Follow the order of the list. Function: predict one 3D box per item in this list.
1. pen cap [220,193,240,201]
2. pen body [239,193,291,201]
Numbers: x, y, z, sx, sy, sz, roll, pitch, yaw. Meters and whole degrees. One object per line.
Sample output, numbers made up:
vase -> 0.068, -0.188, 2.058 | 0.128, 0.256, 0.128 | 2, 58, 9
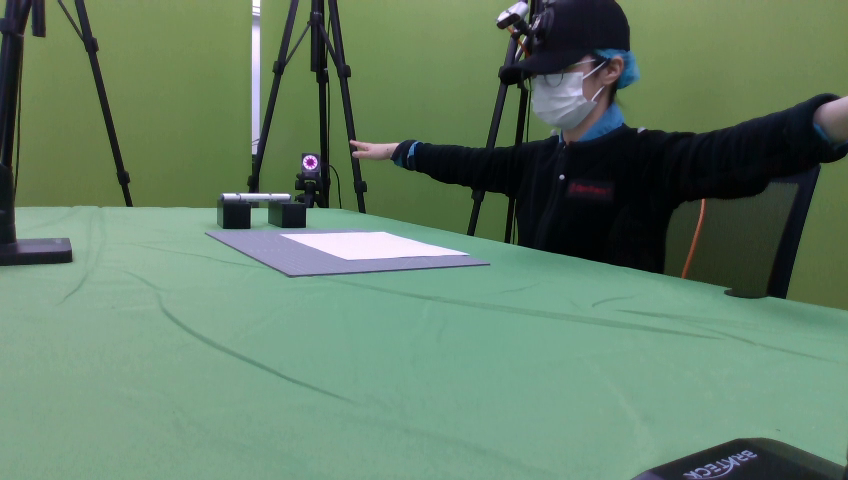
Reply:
pen cap -> -0.383, -0.085, 1.194 | 0.039, 0.017, 0.017 | -5, 10, -44
pen body -> -0.337, -0.089, 1.236 | 0.145, 0.017, 0.017 | -5, 10, -44
